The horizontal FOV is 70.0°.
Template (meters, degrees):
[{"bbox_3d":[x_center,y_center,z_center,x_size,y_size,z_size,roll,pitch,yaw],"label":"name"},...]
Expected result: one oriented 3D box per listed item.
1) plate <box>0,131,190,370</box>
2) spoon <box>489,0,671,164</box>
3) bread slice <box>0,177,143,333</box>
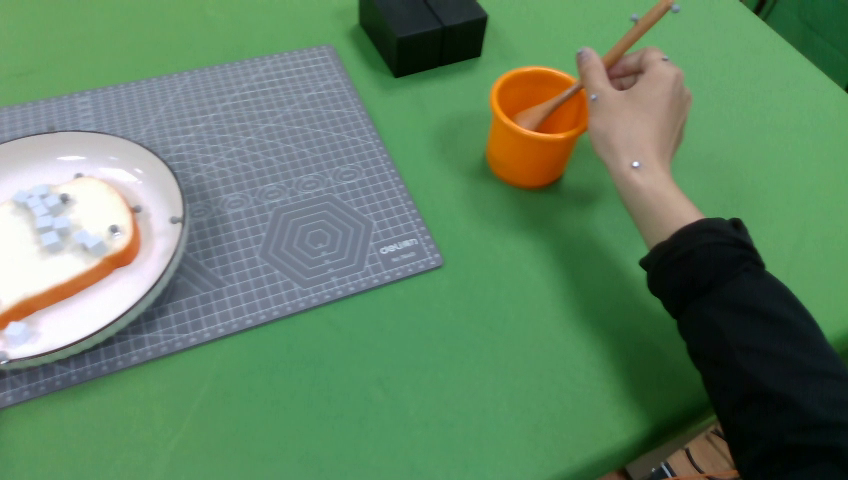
[{"bbox_3d":[-0.282,0.004,0.455,0.209,0.038,0.207,3,55,-4],"label":"plate"},{"bbox_3d":[0.127,-0.134,0.519,0.194,0.022,0.041,-38,45,23],"label":"spoon"},{"bbox_3d":[-0.287,0.002,0.459,0.131,0.019,0.104,-31,64,-23],"label":"bread slice"}]
